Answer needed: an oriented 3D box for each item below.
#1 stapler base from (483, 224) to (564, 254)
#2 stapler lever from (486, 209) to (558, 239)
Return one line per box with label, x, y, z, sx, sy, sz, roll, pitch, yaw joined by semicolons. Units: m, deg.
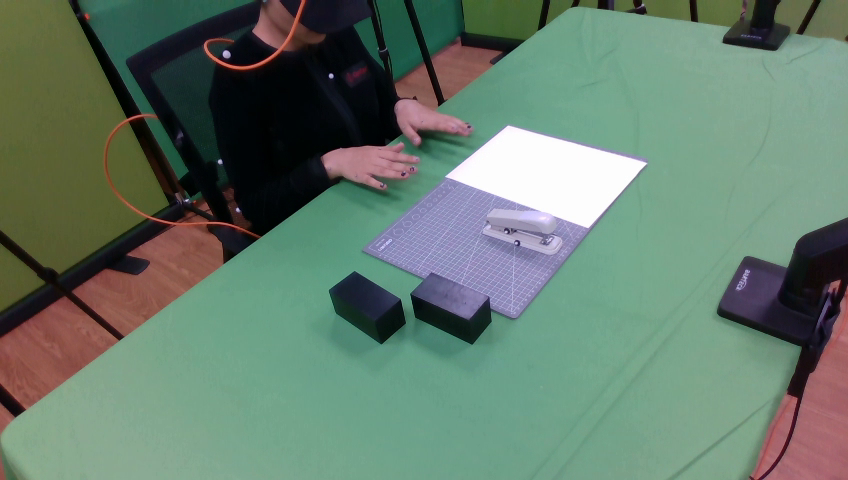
stapler base;0.158;-0.012;0.962;0.129;0.024;0.041;17;45;31
stapler lever;0.153;-0.032;0.947;0.117;0.040;0.027;17;45;31
